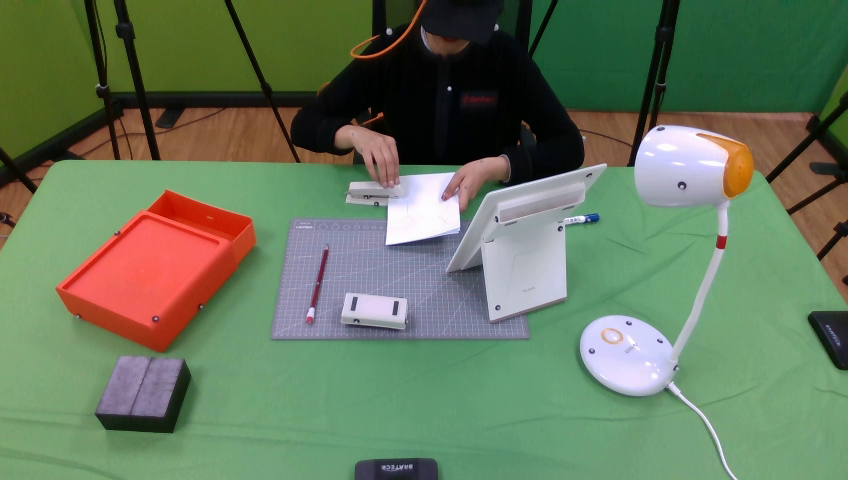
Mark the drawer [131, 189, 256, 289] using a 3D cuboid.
[{"bbox_3d":[-0.449,0.018,1.105,0.194,0.073,0.211,19,48,12],"label":"drawer"}]

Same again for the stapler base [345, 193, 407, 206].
[{"bbox_3d":[-0.101,-0.095,1.282,0.130,0.024,0.041,3,44,1],"label":"stapler base"}]

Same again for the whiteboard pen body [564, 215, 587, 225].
[{"bbox_3d":[0.291,-0.040,1.261,0.141,0.017,0.017,-6,47,-11],"label":"whiteboard pen body"}]

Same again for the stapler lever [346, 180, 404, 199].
[{"bbox_3d":[-0.102,-0.109,1.266,0.118,0.040,0.026,6,44,-2],"label":"stapler lever"}]

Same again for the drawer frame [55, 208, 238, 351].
[{"bbox_3d":[-0.474,0.062,1.059,0.201,0.083,0.213,19,48,13],"label":"drawer frame"}]

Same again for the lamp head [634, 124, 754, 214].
[{"bbox_3d":[0.351,-0.089,0.776,0.112,0.113,0.122,-30,30,-28],"label":"lamp head"}]

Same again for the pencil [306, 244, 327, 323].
[{"bbox_3d":[-0.196,0.076,1.115,0.012,0.012,0.193,4,44,0],"label":"pencil"}]

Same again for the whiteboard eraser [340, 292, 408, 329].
[{"bbox_3d":[-0.087,0.125,1.052,0.113,0.042,0.055,5,45,1],"label":"whiteboard eraser"}]

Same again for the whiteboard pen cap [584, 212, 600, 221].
[{"bbox_3d":[0.351,-0.048,1.271,0.033,0.018,0.018,-6,47,-12],"label":"whiteboard pen cap"}]

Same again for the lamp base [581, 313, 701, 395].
[{"bbox_3d":[0.361,0.144,0.972,0.178,0.181,0.160,34,53,23],"label":"lamp base"}]

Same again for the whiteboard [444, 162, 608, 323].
[{"bbox_3d":[0.186,0.026,1.028,0.217,0.306,0.143,-14,68,-17],"label":"whiteboard"}]
